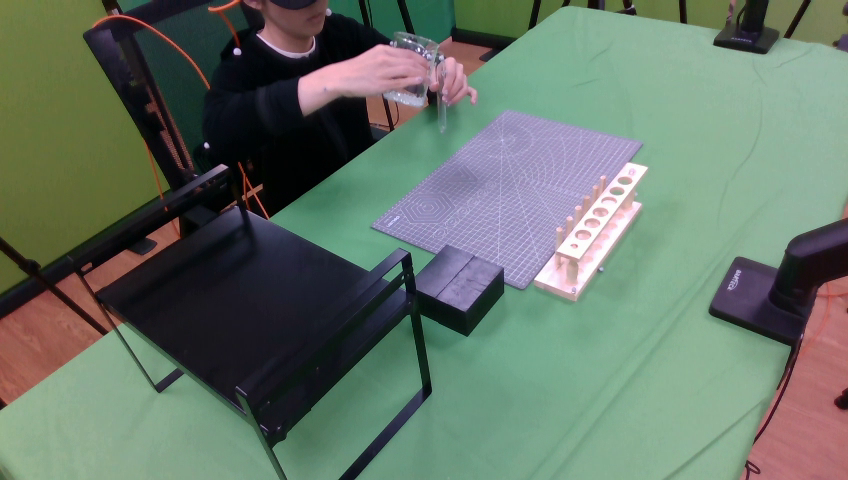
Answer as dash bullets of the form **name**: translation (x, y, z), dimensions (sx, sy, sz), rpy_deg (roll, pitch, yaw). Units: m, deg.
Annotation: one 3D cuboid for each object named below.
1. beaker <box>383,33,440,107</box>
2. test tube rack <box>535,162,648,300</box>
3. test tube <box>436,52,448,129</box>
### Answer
- **beaker**: translation (-0.020, -0.266, 0.956), dimensions (0.073, 0.100, 0.084), rpy_deg (19, 11, 23)
- **test tube rack**: translation (0.257, -0.024, 0.916), dimensions (0.066, 0.085, 0.243), rpy_deg (22, 49, 30)
- **test tube**: translation (0.032, -0.259, 1.063), dimensions (0.017, 0.151, 0.017), rpy_deg (-2, 45, 3)
